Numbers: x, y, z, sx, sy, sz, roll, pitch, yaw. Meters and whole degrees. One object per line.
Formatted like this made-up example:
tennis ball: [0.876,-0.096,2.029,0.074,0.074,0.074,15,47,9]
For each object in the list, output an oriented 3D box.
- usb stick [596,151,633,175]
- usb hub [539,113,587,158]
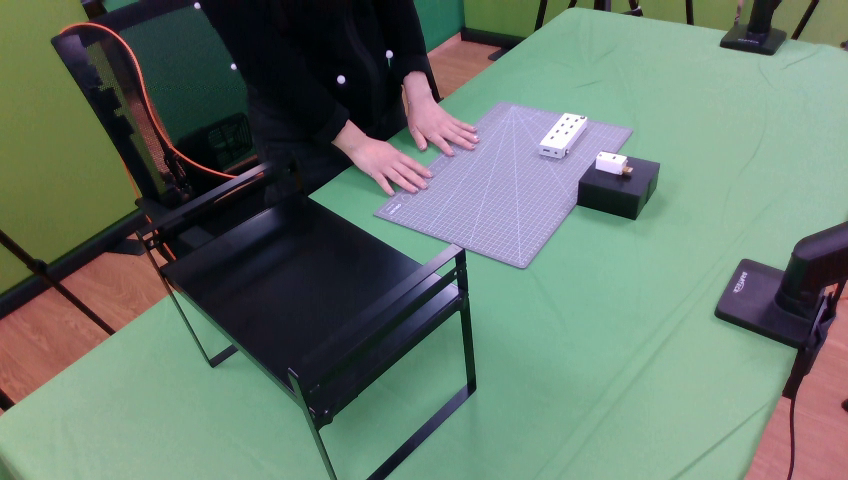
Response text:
usb stick: [0.315,-0.125,0.994,0.059,0.027,0.021,23,47,27]
usb hub: [0.269,-0.202,1.164,0.049,0.025,0.125,19,47,27]
